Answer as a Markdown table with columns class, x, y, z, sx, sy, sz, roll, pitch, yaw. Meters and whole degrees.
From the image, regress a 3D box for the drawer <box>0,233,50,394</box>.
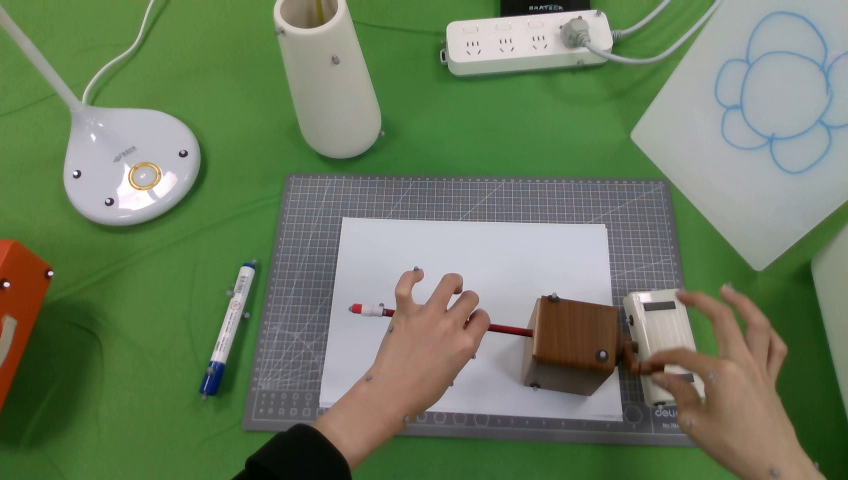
| class | x | y | z | sx | sy | sz | roll | pitch | yaw |
| --- | --- | --- | --- | --- | --- | --- | --- | --- | --- |
| drawer | -0.495 | 0.086 | 0.563 | 0.211 | 0.074 | 0.193 | 4 | 66 | 4 |

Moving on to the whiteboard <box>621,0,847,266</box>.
| class | x | y | z | sx | sy | sz | roll | pitch | yaw |
| --- | --- | --- | --- | --- | --- | --- | --- | --- | --- |
| whiteboard | 0.388 | -0.159 | 0.608 | 0.144 | 0.307 | 0.215 | -20 | 63 | -28 |

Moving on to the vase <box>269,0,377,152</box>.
| class | x | y | z | sx | sy | sz | roll | pitch | yaw |
| --- | --- | --- | --- | --- | --- | --- | --- | --- | --- |
| vase | -0.110 | -0.184 | 0.662 | 0.098 | 0.201 | 0.097 | -1 | 64 | 3 |

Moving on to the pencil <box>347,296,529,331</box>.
| class | x | y | z | sx | sy | sz | roll | pitch | yaw |
| --- | --- | --- | --- | --- | --- | --- | --- | --- | --- |
| pencil | 0.026 | 0.069 | 0.552 | 0.194 | 0.012 | 0.012 | 8 | 65 | 1 |

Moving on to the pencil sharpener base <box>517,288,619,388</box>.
| class | x | y | z | sx | sy | sz | roll | pitch | yaw |
| --- | --- | --- | --- | --- | --- | --- | --- | --- | --- |
| pencil sharpener base | 0.133 | 0.095 | 0.569 | 0.076 | 0.108 | 0.061 | 8 | 65 | 6 |

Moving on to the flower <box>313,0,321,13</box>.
| class | x | y | z | sx | sy | sz | roll | pitch | yaw |
| --- | --- | --- | --- | --- | --- | --- | --- | --- | --- |
| flower | -0.106 | -0.236 | 0.595 | 0.038 | 0.365 | 0.043 | -10 | 46 | -10 |

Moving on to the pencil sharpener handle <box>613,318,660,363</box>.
| class | x | y | z | sx | sy | sz | roll | pitch | yaw |
| --- | --- | --- | --- | --- | --- | --- | --- | --- | --- |
| pencil sharpener handle | 0.180 | 0.091 | 0.524 | 0.030 | 0.067 | 0.036 | 8 | 98 | 6 |

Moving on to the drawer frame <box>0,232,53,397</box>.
| class | x | y | z | sx | sy | sz | roll | pitch | yaw |
| --- | --- | --- | --- | --- | --- | --- | --- | --- | --- |
| drawer frame | -0.501 | 0.088 | 0.564 | 0.213 | 0.083 | 0.200 | 4 | 65 | 2 |

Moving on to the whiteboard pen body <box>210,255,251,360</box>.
| class | x | y | z | sx | sy | sz | roll | pitch | yaw |
| --- | --- | --- | --- | --- | --- | --- | --- | --- | --- |
| whiteboard pen body | -0.206 | 0.080 | 0.637 | 0.017 | 0.017 | 0.139 | 5 | 61 | 5 |

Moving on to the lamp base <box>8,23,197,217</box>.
| class | x | y | z | sx | sy | sz | roll | pitch | yaw |
| --- | --- | --- | --- | --- | --- | --- | --- | --- | --- |
| lamp base | -0.366 | -0.138 | 0.659 | 0.178 | 0.182 | 0.160 | 32 | 69 | 19 |

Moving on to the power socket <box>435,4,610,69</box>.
| class | x | y | z | sx | sy | sz | roll | pitch | yaw |
| --- | --- | --- | --- | --- | --- | --- | --- | --- | --- |
| power socket | 0.128 | -0.263 | 0.783 | 0.227 | 0.033 | 0.071 | -4 | 65 | 0 |

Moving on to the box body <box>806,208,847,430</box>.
| class | x | y | z | sx | sy | sz | roll | pitch | yaw |
| --- | --- | --- | --- | --- | --- | --- | --- | --- | --- |
| box body | 0.515 | 0.126 | 0.513 | 0.254 | 0.161 | 0.361 | 1 | 65 | 2 |

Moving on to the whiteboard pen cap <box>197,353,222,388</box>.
| class | x | y | z | sx | sy | sz | roll | pitch | yaw |
| --- | --- | --- | --- | --- | --- | --- | --- | --- | --- |
| whiteboard pen cap | -0.215 | 0.130 | 0.609 | 0.018 | 0.018 | 0.033 | 6 | 59 | 5 |

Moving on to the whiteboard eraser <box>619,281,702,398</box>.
| class | x | y | z | sx | sy | sz | roll | pitch | yaw |
| --- | --- | --- | --- | --- | --- | --- | --- | --- | --- |
| whiteboard eraser | 0.232 | 0.098 | 0.601 | 0.055 | 0.042 | 0.111 | -4 | 64 | -1 |

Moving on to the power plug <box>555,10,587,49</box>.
| class | x | y | z | sx | sy | sz | roll | pitch | yaw |
| --- | --- | --- | --- | --- | --- | --- | --- | --- | --- |
| power plug | 0.180 | -0.251 | 0.750 | 0.035 | 0.053 | 0.072 | 5 | 66 | 5 |
